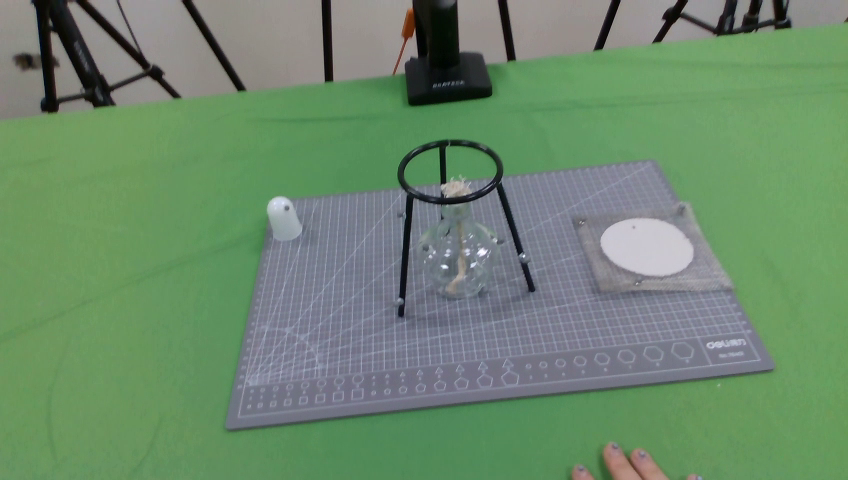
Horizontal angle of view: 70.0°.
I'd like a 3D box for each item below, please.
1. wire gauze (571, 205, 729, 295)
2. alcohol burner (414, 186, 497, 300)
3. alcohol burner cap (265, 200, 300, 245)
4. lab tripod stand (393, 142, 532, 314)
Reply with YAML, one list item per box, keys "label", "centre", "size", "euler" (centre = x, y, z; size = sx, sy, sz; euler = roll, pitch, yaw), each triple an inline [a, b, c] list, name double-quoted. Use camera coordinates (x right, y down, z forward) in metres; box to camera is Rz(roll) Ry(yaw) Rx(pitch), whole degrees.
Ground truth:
- label: "wire gauze"
  centre: [0.219, 0.009, 0.600]
  size: [0.125, 0.011, 0.120]
  euler: [-3, 42, 1]
- label: "alcohol burner"
  centre: [0.028, -0.002, 0.557]
  size: [0.078, 0.120, 0.077]
  euler: [-2, 42, 2]
- label: "alcohol burner cap"
  centre: [-0.155, -0.022, 0.656]
  size: [0.034, 0.048, 0.033]
  euler: [-3, 43, 3]
- label: "lab tripod stand"
  centre: [0.029, -0.011, 0.552]
  size: [0.148, 0.133, 0.147]
  euler: [-2, 41, 2]
